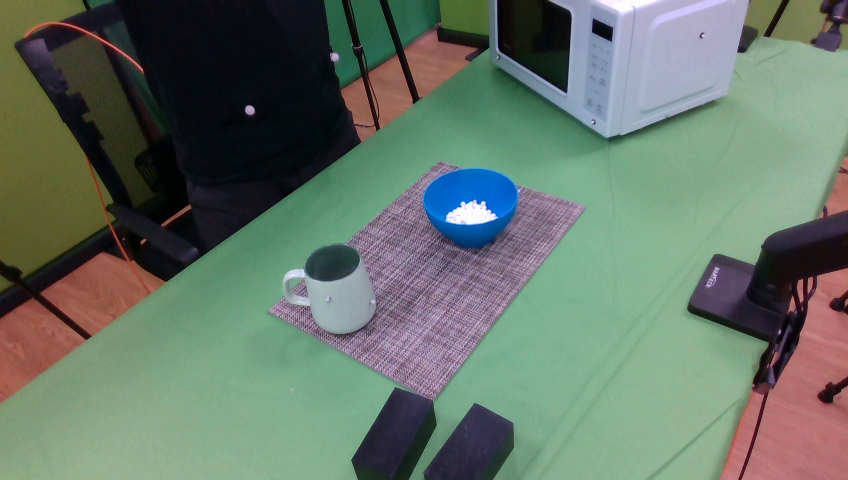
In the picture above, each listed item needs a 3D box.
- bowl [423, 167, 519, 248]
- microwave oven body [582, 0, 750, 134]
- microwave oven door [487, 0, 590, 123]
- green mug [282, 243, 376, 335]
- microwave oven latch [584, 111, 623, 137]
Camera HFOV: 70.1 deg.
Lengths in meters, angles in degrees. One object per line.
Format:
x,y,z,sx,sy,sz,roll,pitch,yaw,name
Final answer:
0.076,-0.041,0.958,0.151,0.077,0.150,-4,40,4,bowl
0.382,-0.444,1.246,0.327,0.261,0.437,-22,42,-16,microwave oven body
0.232,-0.420,1.231,0.039,0.245,0.352,-22,43,-16,microwave oven door
-0.134,0.069,0.838,0.125,0.105,0.092,-2,41,6,green mug
0.337,-0.222,1.142,0.030,0.029,0.078,-21,42,-14,microwave oven latch
